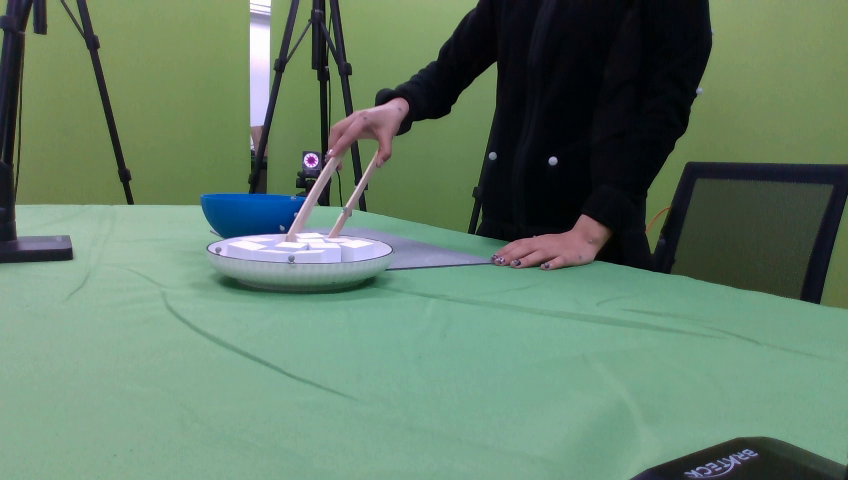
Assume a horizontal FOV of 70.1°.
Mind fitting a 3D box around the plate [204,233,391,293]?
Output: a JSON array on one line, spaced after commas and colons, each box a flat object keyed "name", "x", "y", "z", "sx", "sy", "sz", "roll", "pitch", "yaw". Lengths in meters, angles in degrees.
[{"name": "plate", "x": -0.143, "y": 0.025, "z": 0.697, "sx": 0.208, "sy": 0.039, "sz": 0.207, "roll": 3, "pitch": 9, "yaw": 0}]

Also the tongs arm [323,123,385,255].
[{"name": "tongs arm", "x": -0.108, "y": -0.093, "z": 0.906, "sx": 0.051, "sy": 0.026, "sz": 0.384, "roll": 10, "pitch": 32, "yaw": 6}]

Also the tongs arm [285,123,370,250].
[{"name": "tongs arm", "x": -0.138, "y": -0.097, "z": 0.907, "sx": 0.028, "sy": 0.028, "sz": 0.387, "roll": 6, "pitch": 32, "yaw": 6}]

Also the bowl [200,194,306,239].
[{"name": "bowl", "x": -0.245, "y": -0.025, "z": 0.879, "sx": 0.151, "sy": 0.077, "sz": 0.151, "roll": 2, "pitch": 7, "yaw": 0}]
